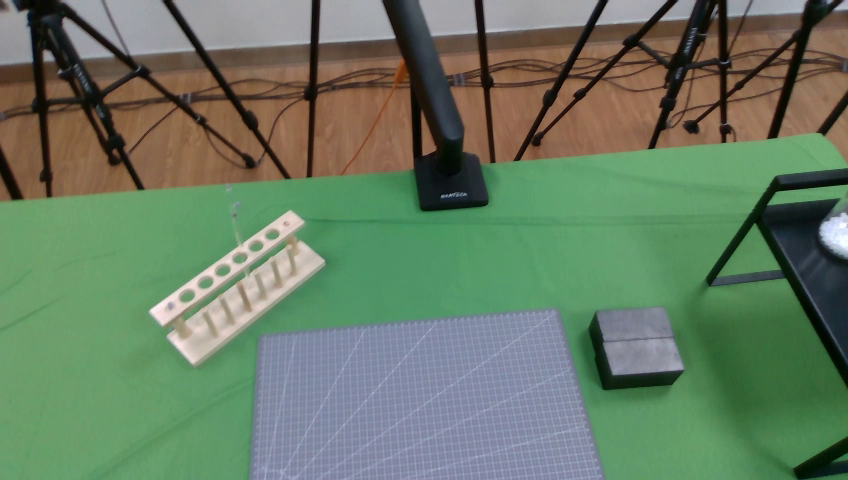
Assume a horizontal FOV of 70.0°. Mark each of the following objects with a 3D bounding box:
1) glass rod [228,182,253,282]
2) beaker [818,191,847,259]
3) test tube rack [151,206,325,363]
[{"bbox_3d":[-0.258,-0.005,0.856,0.008,0.201,0.008,3,47,-3],"label":"glass rod"},{"bbox_3d":[0.543,-0.029,0.745,0.084,0.101,0.073,-9,55,-7],"label":"beaker"},{"bbox_3d":[-0.263,0.061,0.889,0.066,0.086,0.242,37,61,24],"label":"test tube rack"}]
